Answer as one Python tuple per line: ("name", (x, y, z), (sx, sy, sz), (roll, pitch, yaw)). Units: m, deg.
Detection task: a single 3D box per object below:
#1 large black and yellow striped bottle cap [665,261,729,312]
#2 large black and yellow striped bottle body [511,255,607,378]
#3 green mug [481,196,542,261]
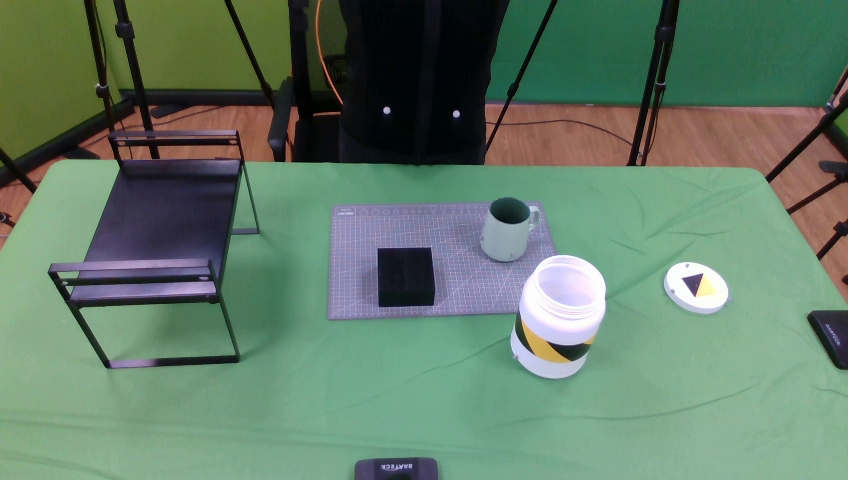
("large black and yellow striped bottle cap", (0.518, 0.087, 1.153), (0.115, 0.019, 0.114), (2, 47, -2))
("large black and yellow striped bottle body", (0.218, 0.124, 0.981), (0.131, 0.185, 0.130), (2, 47, -2))
("green mug", (0.174, -0.027, 1.173), (0.125, 0.105, 0.092), (-22, 51, -22))
